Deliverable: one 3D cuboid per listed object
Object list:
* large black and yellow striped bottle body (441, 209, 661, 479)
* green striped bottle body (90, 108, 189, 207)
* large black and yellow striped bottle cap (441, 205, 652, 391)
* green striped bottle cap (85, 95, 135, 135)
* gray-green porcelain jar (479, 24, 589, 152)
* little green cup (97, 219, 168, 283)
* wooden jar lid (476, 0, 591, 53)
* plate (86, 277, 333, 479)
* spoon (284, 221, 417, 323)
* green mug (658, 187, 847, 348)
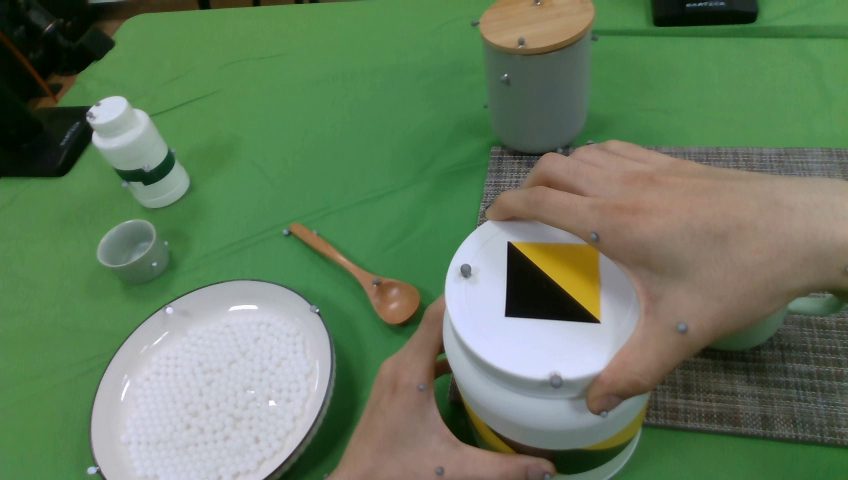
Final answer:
[{"bbox_3d":[0.082,0.077,0.403,0.130,0.186,0.129,-6,53,8],"label":"large black and yellow striped bottle body"},{"bbox_3d":[-0.315,-0.096,0.664,0.063,0.120,0.062,-6,51,8],"label":"green striped bottle body"},{"bbox_3d":[0.066,0.028,0.337,0.115,0.019,0.114,-4,53,6],"label":"large black and yellow striped bottle cap"},{"bbox_3d":[-0.323,-0.129,0.624,0.044,0.020,0.044,-4,53,6],"label":"green striped bottle cap"},{"bbox_3d":[0.114,-0.164,0.626,0.106,0.128,0.105,-5,48,6],"label":"gray-green porcelain jar"},{"bbox_3d":[-0.300,0.013,0.628,0.061,0.039,0.061,-6,51,7],"label":"little green cup"},{"bbox_3d":[0.104,-0.207,0.579,0.108,0.021,0.107,-8,49,9],"label":"wooden jar lid"},{"bbox_3d":[-0.175,0.126,0.515,0.209,0.038,0.207,-5,51,7],"label":"plate"},{"bbox_3d":[-0.077,0.023,0.586,0.192,0.022,0.041,33,80,31],"label":"spoon"},{"bbox_3d":[0.249,0.026,0.460,0.125,0.106,0.092,11,55,19],"label":"green mug"}]
